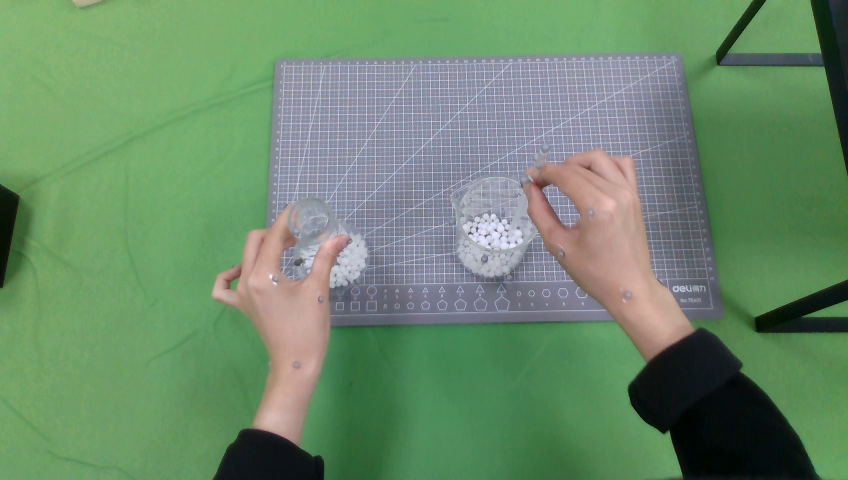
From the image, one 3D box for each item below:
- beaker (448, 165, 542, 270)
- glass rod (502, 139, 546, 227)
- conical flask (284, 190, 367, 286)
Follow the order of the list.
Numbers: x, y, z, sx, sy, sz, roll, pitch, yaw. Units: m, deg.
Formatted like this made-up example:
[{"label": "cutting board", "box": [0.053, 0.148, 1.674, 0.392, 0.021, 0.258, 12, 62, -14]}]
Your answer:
[{"label": "beaker", "box": [0.061, -0.017, 0.564, 0.084, 0.101, 0.073, 22, 74, 8]}, {"label": "glass rod", "box": [0.081, -0.042, 0.511, 0.008, 0.200, 0.008, 0, 75, 0]}, {"label": "conical flask", "box": [-0.094, -0.007, 0.549, 0.075, 0.122, 0.075, 0, 73, 0]}]
